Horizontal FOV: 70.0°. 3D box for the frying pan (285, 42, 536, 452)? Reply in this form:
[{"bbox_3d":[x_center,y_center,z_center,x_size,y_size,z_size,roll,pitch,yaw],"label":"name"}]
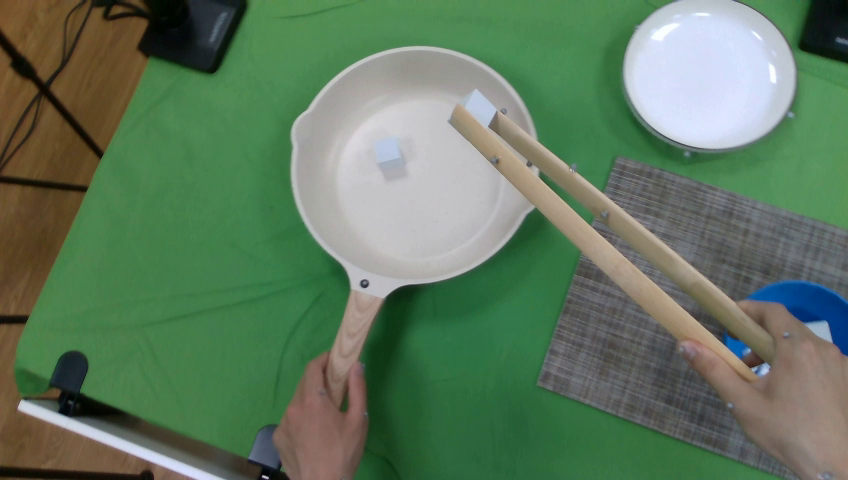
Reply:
[{"bbox_3d":[-0.050,0.001,0.704,0.306,0.103,0.485,18,72,8],"label":"frying pan"}]

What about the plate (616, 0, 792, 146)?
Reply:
[{"bbox_3d":[0.342,-0.212,0.754,0.207,0.039,0.206,-1,79,4],"label":"plate"}]

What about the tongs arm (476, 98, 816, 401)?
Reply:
[{"bbox_3d":[0.171,-0.005,0.537,0.382,0.027,0.051,43,49,20],"label":"tongs arm"}]

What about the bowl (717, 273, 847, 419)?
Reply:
[{"bbox_3d":[0.387,0.115,0.662,0.151,0.077,0.150,-1,79,4],"label":"bowl"}]

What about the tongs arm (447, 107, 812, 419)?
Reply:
[{"bbox_3d":[0.151,0.005,0.521,0.028,0.028,0.384,-24,60,-40],"label":"tongs arm"}]
